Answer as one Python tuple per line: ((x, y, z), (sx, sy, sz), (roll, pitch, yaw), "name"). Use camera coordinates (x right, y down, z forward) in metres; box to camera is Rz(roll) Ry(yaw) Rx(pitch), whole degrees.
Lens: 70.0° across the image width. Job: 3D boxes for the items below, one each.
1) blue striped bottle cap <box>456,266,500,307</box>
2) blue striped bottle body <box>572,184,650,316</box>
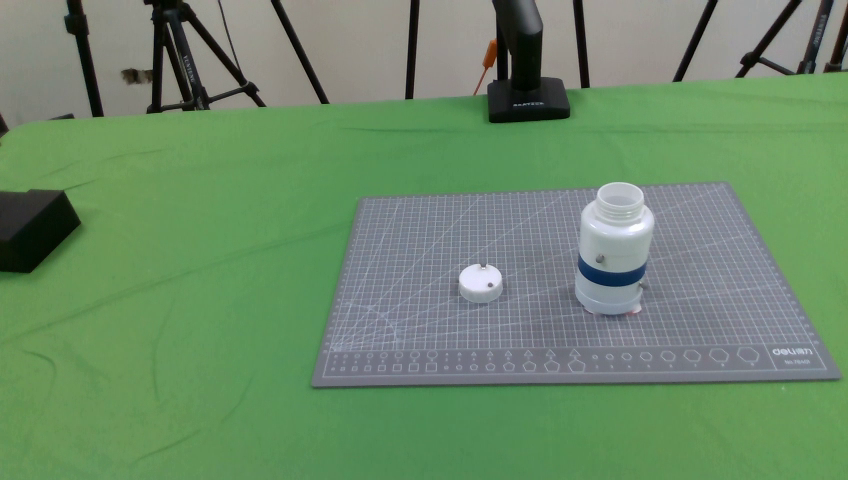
((0.054, 0.047, 0.614), (0.044, 0.021, 0.044), (-3, 37, 3), "blue striped bottle cap")
((0.172, 0.008, 0.560), (0.063, 0.122, 0.062), (-4, 39, 3), "blue striped bottle body")
